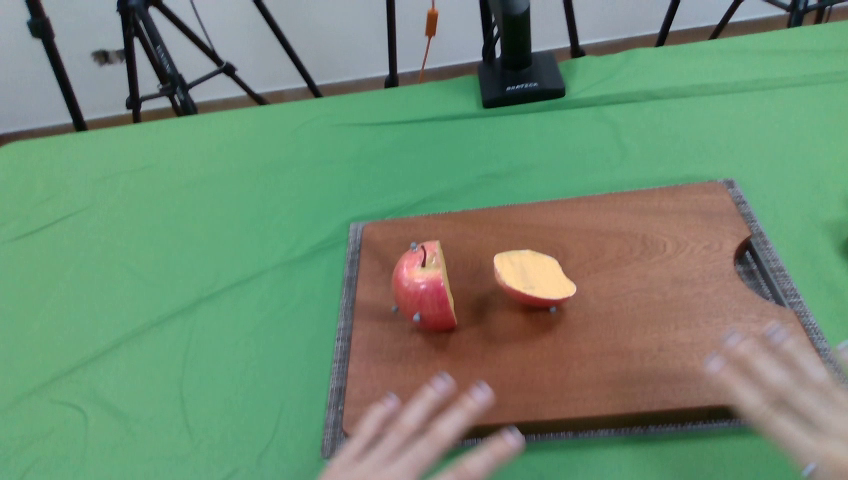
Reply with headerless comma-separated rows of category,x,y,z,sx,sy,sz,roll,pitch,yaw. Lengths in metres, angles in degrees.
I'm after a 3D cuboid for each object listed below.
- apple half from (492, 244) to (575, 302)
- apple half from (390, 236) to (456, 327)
apple half,0.097,0.037,0.568,0.081,0.033,0.080,10,32,-6
apple half,-0.003,0.043,0.562,0.053,0.075,0.080,-15,48,4
